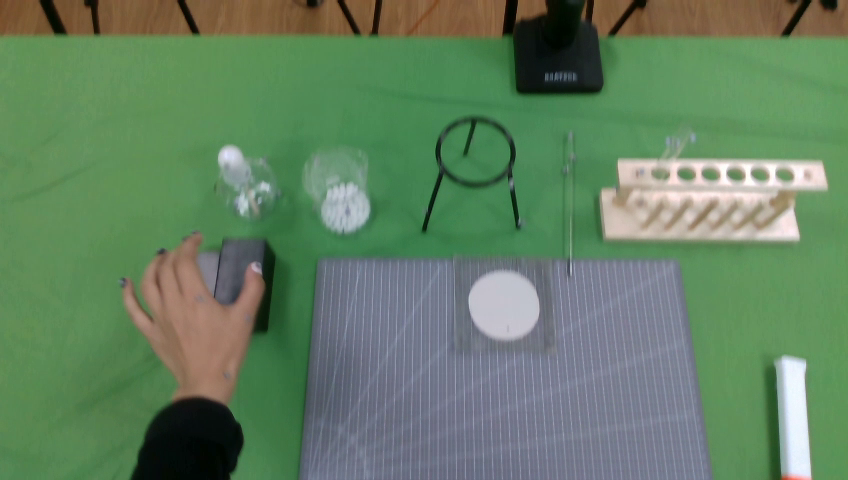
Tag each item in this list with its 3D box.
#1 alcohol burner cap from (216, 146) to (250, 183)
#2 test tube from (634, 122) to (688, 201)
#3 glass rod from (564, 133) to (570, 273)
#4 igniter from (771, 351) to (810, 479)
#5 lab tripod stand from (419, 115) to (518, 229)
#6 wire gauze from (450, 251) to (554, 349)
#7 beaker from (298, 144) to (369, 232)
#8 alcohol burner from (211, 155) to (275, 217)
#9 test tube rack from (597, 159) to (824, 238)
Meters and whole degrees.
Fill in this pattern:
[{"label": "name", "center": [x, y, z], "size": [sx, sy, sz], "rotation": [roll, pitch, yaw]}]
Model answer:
[{"label": "alcohol burner cap", "center": [-0.223, -0.090, 0.702], "size": [0.034, 0.048, 0.033], "rotation": [1, 69, -3]}, {"label": "test tube", "center": [0.273, -0.087, 0.705], "size": [0.017, 0.151, 0.017], "rotation": [0, 64, 1]}, {"label": "glass rod", "center": [0.185, -0.051, 0.784], "size": [0.008, 0.008, 0.198], "rotation": [5, 70, 2]}, {"label": "igniter", "center": [0.396, 0.257, 0.652], "size": [0.057, 0.025, 0.275], "rotation": [13, 69, -6]}, {"label": "lab tripod stand", "center": [0.053, -0.079, 0.728], "size": [0.148, 0.132, 0.147], "rotation": [-1, 67, 2]}, {"label": "wire gauze", "center": [0.093, 0.070, 0.734], "size": [0.125, 0.011, 0.120], "rotation": [2, 67, 2]}, {"label": "beaker", "center": [-0.104, -0.061, 0.738], "size": [0.084, 0.101, 0.073], "rotation": [-37, 73, -14]}, {"label": "alcohol burner", "center": [-0.224, -0.076, 0.736], "size": [0.078, 0.120, 0.077], "rotation": [0, 66, 0]}, {"label": "test tube rack", "center": [0.346, -0.049, 0.743], "size": [0.242, 0.086, 0.066], "rotation": [0, 68, 0]}]
